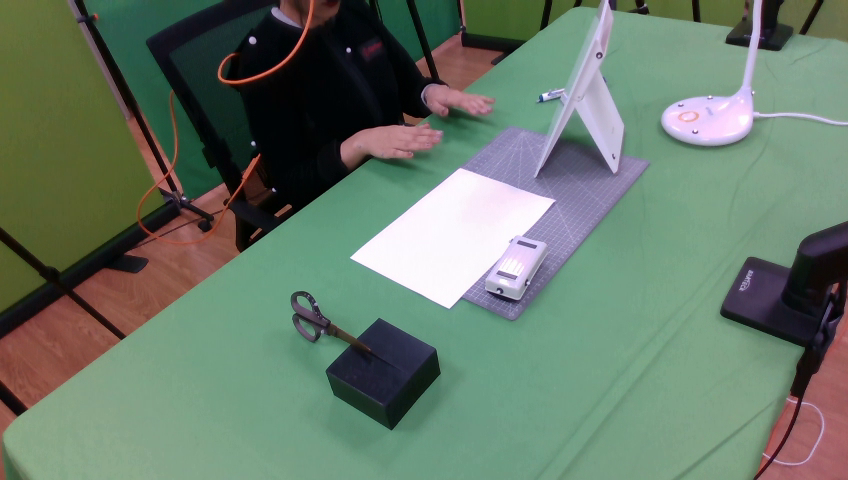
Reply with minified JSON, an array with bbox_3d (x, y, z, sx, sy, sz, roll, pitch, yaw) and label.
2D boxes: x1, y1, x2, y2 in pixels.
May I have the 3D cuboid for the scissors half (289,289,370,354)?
[{"bbox_3d":[-0.128,0.110,0.808,0.013,0.040,0.173,-17,35,-43],"label":"scissors half"}]

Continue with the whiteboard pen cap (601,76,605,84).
[{"bbox_3d":[0.372,-0.341,1.305,0.033,0.018,0.018,-17,41,-1],"label":"whiteboard pen cap"}]

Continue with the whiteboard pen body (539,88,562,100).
[{"bbox_3d":[0.315,-0.324,1.303,0.141,0.017,0.017,-15,41,-2],"label":"whiteboard pen body"}]

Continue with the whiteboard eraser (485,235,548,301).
[{"bbox_3d":[0.137,0.042,0.887,0.055,0.042,0.113,15,46,27],"label":"whiteboard eraser"}]

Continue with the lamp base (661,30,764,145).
[{"bbox_3d":[0.535,-0.287,1.096,0.179,0.181,0.159,-10,40,-4],"label":"lamp base"}]

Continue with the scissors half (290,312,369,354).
[{"bbox_3d":[-0.128,0.129,0.816,0.013,0.040,0.173,-23,21,-40],"label":"scissors half"}]

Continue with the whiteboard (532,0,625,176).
[{"bbox_3d":[0.320,-0.259,1.050,0.144,0.306,0.217,21,45,5],"label":"whiteboard"}]
